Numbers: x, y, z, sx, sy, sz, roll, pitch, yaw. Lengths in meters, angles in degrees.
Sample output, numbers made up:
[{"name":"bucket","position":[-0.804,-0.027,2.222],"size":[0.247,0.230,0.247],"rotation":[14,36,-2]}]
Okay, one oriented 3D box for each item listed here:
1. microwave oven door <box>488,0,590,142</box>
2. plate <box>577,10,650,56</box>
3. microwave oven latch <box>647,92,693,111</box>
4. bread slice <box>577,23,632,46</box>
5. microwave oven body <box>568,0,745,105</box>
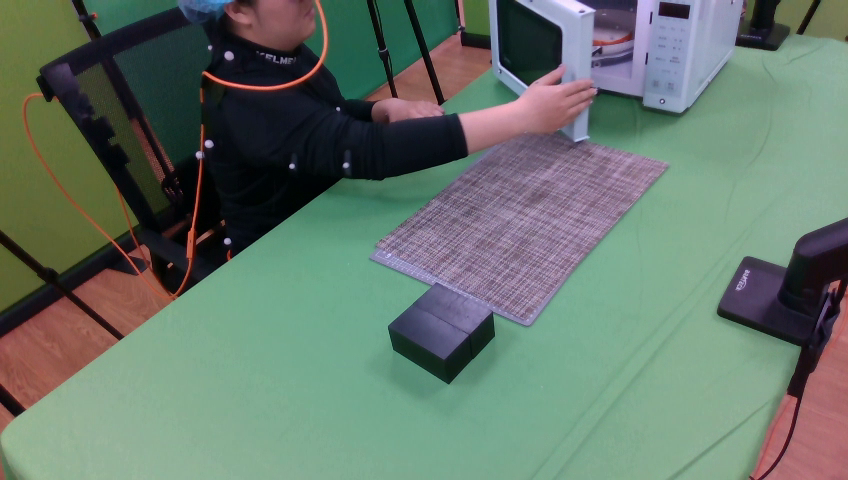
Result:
[{"name":"microwave oven door","position":[0.220,-0.378,1.193],"size":[0.039,0.245,0.353],"rotation":[-20,41,-11]},{"name":"plate","position":[0.390,-0.455,1.339],"size":[0.209,0.038,0.208],"rotation":[-6,39,5]},{"name":"microwave oven latch","position":[0.477,-0.273,1.177],"size":[0.078,0.029,0.030],"rotation":[23,51,34]},{"name":"bread slice","position":[0.395,-0.452,1.344],"size":[0.105,0.019,0.130],"rotation":[-35,41,-26]},{"name":"microwave oven body","position":[0.416,-0.486,1.290],"size":[0.438,0.261,0.327],"rotation":[21,50,33]}]
